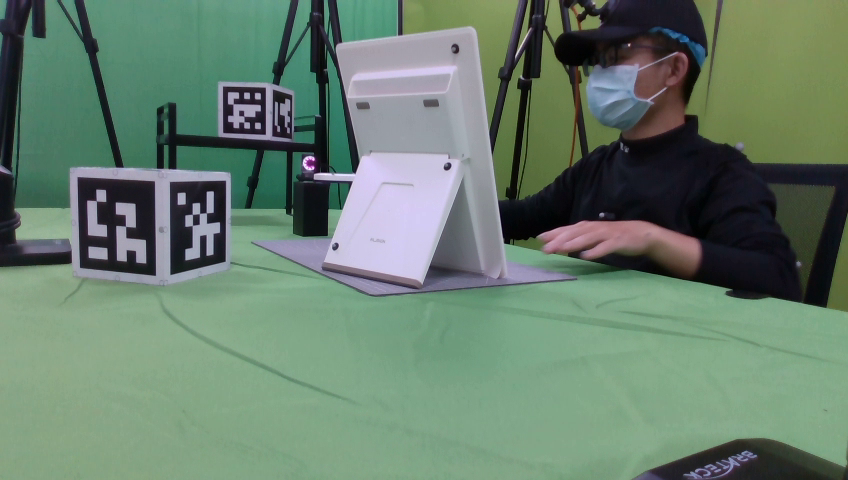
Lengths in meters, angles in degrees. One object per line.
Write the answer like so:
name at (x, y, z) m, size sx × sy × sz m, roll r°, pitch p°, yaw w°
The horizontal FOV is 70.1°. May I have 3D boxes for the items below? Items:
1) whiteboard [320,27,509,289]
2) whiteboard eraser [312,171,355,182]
whiteboard at (-0.045, -0.076, 0.721) m, size 0.216 × 0.305 × 0.144 m, roll 9°, pitch 29°, yaw 39°
whiteboard eraser at (-0.164, -0.122, 1.163) m, size 0.102 × 0.019 × 0.041 m, roll 0°, pitch 7°, yaw -28°
